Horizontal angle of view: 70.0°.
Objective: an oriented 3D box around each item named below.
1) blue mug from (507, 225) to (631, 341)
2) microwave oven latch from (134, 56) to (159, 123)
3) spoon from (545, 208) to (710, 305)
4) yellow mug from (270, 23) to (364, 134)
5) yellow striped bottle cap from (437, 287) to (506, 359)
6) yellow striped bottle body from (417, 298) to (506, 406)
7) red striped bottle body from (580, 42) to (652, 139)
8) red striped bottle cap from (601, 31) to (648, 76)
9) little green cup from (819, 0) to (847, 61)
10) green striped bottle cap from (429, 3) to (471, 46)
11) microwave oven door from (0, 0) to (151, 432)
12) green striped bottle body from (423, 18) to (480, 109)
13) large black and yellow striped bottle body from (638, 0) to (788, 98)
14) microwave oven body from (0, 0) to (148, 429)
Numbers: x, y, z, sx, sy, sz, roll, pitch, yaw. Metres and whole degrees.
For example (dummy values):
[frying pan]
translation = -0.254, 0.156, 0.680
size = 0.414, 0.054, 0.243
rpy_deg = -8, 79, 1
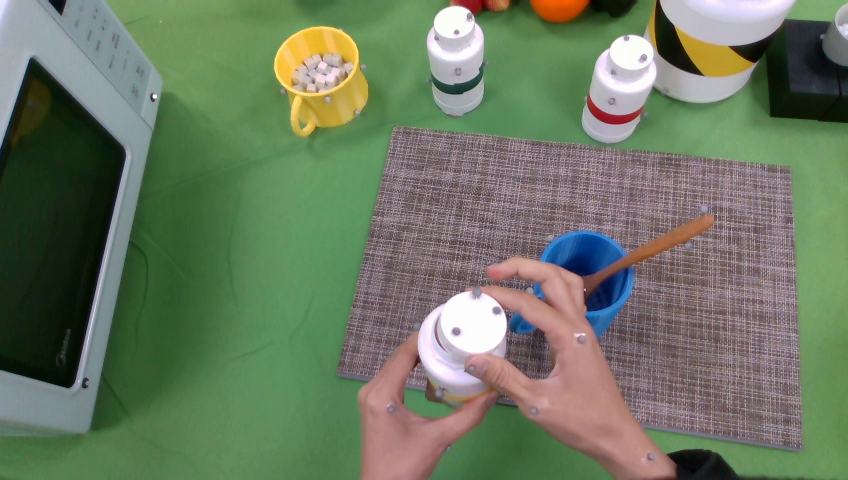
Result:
[blue mug]
translation = 0.130, 0.052, 0.578
size = 0.116, 0.106, 0.081
rpy_deg = -27, 67, -6
[microwave oven latch]
translation = -0.345, -0.182, 0.735
size = 0.030, 0.030, 0.078
rpy_deg = 0, 69, 5
[spoon]
translation = 0.169, 0.022, 0.540
size = 0.022, 0.194, 0.041
rpy_deg = 6, 61, -31
[yellow mug]
translation = -0.132, -0.186, 0.723
size = 0.099, 0.064, 0.130
rpy_deg = 17, 71, 11
[yellow striped bottle cap]
translation = 0.031, 0.053, 0.393
size = 0.044, 0.019, 0.044
rpy_deg = 2, 61, -4
[yellow striped bottle body]
translation = 0.029, 0.082, 0.453
size = 0.063, 0.121, 0.062
rpy_deg = -2, 64, 5
[red striped bottle body]
translation = 0.207, -0.167, 0.656
size = 0.063, 0.120, 0.062
rpy_deg = -3, 66, 7
[red striped bottle cap]
translation = 0.201, -0.188, 0.608
size = 0.044, 0.018, 0.044
rpy_deg = 0, 67, 1
[little green cup]
translation = 0.458, -0.224, 0.646
size = 0.061, 0.039, 0.061
rpy_deg = -1, 66, 2
[green striped bottle cap]
translation = 0.027, -0.228, 0.640
size = 0.044, 0.020, 0.044
rpy_deg = -2, 67, 5
[microwave oven door]
translation = -0.358, -0.018, 0.560
size = 0.039, 0.245, 0.353
rpy_deg = -2, 68, 5
[green striped bottle body]
translation = 0.033, -0.208, 0.688
size = 0.063, 0.120, 0.062
rpy_deg = -1, 68, 4
[large black and yellow striped bottle body]
translation = 0.310, -0.256, 0.648
size = 0.131, 0.185, 0.130
rpy_deg = -2, 68, 5
[microwave oven body]
translation = -0.503, -0.051, 0.592
size = 0.326, 0.262, 0.438
rpy_deg = -1, 68, 4
